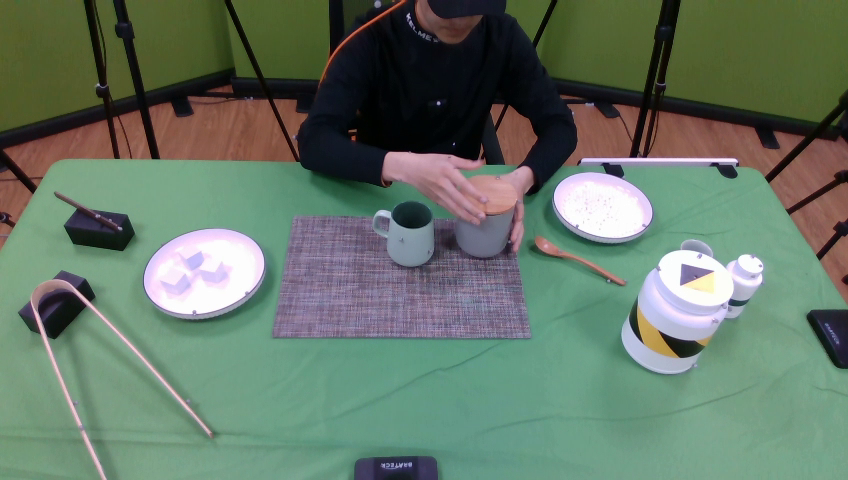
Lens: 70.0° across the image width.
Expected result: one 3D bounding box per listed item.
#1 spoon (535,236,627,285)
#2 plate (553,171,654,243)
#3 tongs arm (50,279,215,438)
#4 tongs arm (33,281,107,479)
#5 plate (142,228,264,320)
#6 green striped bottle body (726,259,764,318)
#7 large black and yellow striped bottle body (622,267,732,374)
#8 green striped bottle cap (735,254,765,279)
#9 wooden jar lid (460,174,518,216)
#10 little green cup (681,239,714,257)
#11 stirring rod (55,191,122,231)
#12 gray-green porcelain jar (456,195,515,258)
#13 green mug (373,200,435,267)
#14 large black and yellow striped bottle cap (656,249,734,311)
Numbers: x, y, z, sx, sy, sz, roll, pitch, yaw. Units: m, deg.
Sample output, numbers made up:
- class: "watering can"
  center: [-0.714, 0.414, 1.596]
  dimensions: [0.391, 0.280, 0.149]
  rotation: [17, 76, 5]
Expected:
- class: "spoon"
  center: [0.303, 0.040, 1.178]
  dimensions: [0.193, 0.022, 0.041]
  rotation: [25, 31, 19]
- class: "plate"
  center: [0.373, -0.066, 1.275]
  dimensions: [0.209, 0.038, 0.208]
  rotation: [2, 46, -2]
- class: "tongs arm"
  center: [-0.459, 0.178, 0.949]
  dimensions: [0.386, 0.028, 0.028]
  rotation: [38, 60, 17]
- class: "tongs arm"
  center: [-0.517, 0.214, 0.910]
  dimensions: [0.051, 0.026, 0.383]
  rotation: [-28, 63, -27]
- class: "plate"
  center: [-0.394, 0.064, 1.095]
  dimensions: [0.208, 0.039, 0.206]
  rotation: [2, 46, -2]
- class: "green striped bottle body"
  center: [0.563, 0.081, 1.089]
  dimensions: [0.063, 0.120, 0.063]
  rotation: [2, 46, -2]
- class: "large black and yellow striped bottle body"
  center: [0.415, 0.119, 0.997]
  dimensions: [0.131, 0.185, 0.130]
  rotation: [2, 46, -2]
- class: "green striped bottle cap"
  center: [0.566, 0.046, 1.051]
  dimensions: [0.044, 0.020, 0.044]
  rotation: [0, 45, 0]
- class: "wooden jar lid"
  center: [0.119, -0.081, 1.115]
  dimensions: [0.108, 0.021, 0.107]
  rotation: [4, 43, -4]
- class: "little green cup"
  center: [0.531, 0.033, 1.190]
  dimensions: [0.061, 0.039, 0.061]
  rotation: [2, 47, -2]
- class: "stirring rod"
  center: [-0.632, -0.055, 1.138]
  dimensions: [0.175, 0.014, 0.006]
  rotation: [24, 51, 19]
- class: "gray-green porcelain jar"
  center: [0.116, -0.035, 1.162]
  dimensions: [0.106, 0.127, 0.105]
  rotation: [1, 47, -1]
- class: "green mug"
  center: [-0.040, -0.016, 1.146]
  dimensions: [0.125, 0.105, 0.092]
  rotation: [17, 48, 13]
- class: "large black and yellow striped bottle cap"
  center: [0.419, 0.060, 0.938]
  dimensions: [0.115, 0.019, 0.114]
  rotation: [2, 47, -2]
